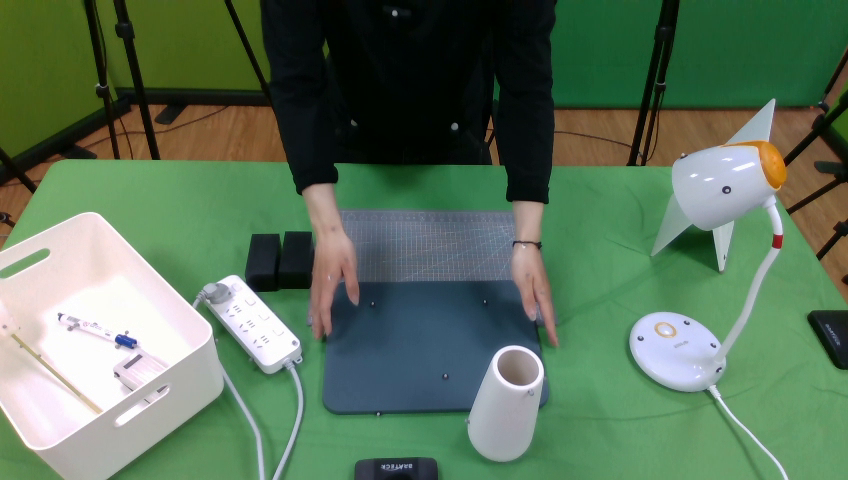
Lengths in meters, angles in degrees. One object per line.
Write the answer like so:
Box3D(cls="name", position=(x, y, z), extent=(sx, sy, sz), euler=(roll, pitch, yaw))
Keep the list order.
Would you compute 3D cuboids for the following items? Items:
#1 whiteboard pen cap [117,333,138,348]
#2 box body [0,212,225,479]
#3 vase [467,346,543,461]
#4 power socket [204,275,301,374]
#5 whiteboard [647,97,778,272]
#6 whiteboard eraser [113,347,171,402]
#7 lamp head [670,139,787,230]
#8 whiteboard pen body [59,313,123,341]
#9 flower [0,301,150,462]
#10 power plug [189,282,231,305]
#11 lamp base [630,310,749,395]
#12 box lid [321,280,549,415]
Box3D(cls="whiteboard pen cap", position=(-0.489, 0.165, 0.996), extent=(0.033, 0.018, 0.018), euler=(17, 47, 10))
Box3D(cls="box body", position=(-0.506, 0.155, 0.915), extent=(0.362, 0.161, 0.254), euler=(35, 54, 26))
Box3D(cls="vase", position=(0.116, 0.234, 0.860), extent=(0.098, 0.201, 0.097), euler=(1, 47, -1))
Box3D(cls="power socket", position=(-0.296, 0.140, 1.035), extent=(0.072, 0.033, 0.225), euler=(-33, 57, -29))
Box3D(cls="whiteboard", position=(0.602, -0.079, 1.162), extent=(0.144, 0.306, 0.216), euler=(35, 51, 2))
Box3D(cls="whiteboard eraser", position=(-0.420, 0.214, 0.937), extent=(0.112, 0.042, 0.055), euler=(25, 48, 21))
Box3D(cls="lamp head", position=(0.415, -0.079, 0.811), extent=(0.113, 0.123, 0.112), euler=(12, 70, -37))
Box3D(cls="whiteboard pen body", position=(-0.544, 0.148, 1.009), extent=(0.140, 0.017, 0.017), euler=(17, 47, 8))
Box3D(cls="flower", position=(-0.552, 0.221, 0.938), extent=(0.361, 0.038, 0.044), euler=(39, 63, 9))
Box3D(cls="power plug", position=(-0.368, 0.097, 1.039), extent=(0.072, 0.053, 0.035), euler=(-27, 55, -21))
Box3D(cls="lamp base", position=(0.447, 0.143, 0.984), extent=(0.161, 0.181, 0.178), euler=(-24, 55, -24))
Box3D(cls="box lid", position=(0.013, 0.174, 1.040), extent=(0.372, 0.015, 0.261), euler=(0, 47, -5))
